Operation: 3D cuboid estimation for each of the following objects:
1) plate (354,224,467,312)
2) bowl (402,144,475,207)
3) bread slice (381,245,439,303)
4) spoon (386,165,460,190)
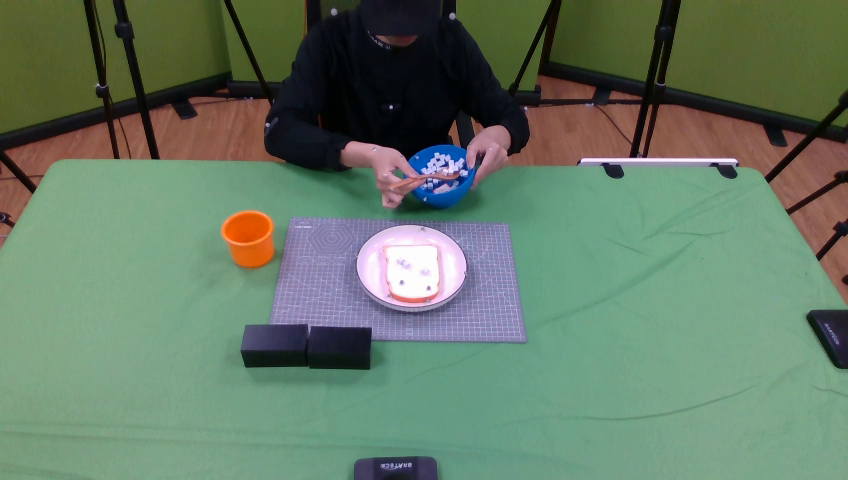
[{"bbox_3d":[-0.025,0.055,1.128,0.209,0.038,0.208,3,46,-2],"label":"plate"},{"bbox_3d":[0.035,-0.122,1.261,0.151,0.077,0.150,-7,49,8],"label":"bowl"},{"bbox_3d":[-0.022,0.061,1.126,0.107,0.018,0.133,-3,45,-8],"label":"bread slice"},{"bbox_3d":[-0.002,-0.124,1.204,0.194,0.022,0.041,-16,45,-42],"label":"spoon"}]
